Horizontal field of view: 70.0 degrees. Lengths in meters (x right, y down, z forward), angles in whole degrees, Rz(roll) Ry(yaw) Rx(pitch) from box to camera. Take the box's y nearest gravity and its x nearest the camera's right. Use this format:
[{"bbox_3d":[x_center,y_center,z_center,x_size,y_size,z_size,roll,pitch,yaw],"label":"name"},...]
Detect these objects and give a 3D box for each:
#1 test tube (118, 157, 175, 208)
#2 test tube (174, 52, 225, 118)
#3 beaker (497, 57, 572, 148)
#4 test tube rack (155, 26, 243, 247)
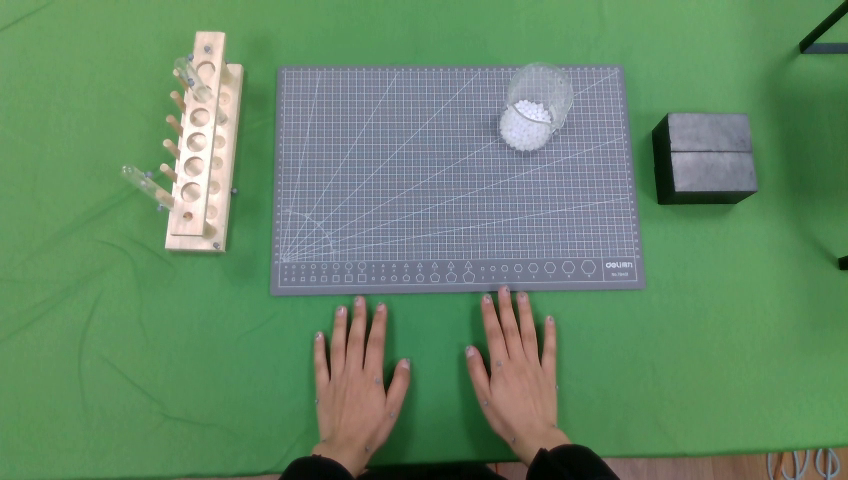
[{"bbox_3d":[-0.289,-0.057,0.650,0.017,0.151,0.017,0,78,-2],"label":"test tube"},{"bbox_3d":[-0.246,-0.168,0.672,0.017,0.150,0.017,1,81,-4],"label":"test tube"},{"bbox_3d":[0.130,-0.157,0.725,0.074,0.100,0.083,-29,80,-8],"label":"beaker"},{"bbox_3d":[-0.267,-0.119,0.710,0.067,0.085,0.241,2,77,-2],"label":"test tube rack"}]
